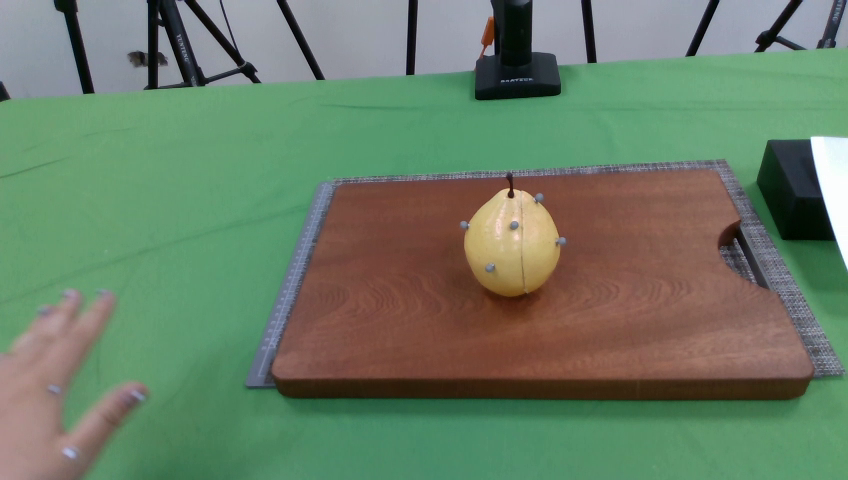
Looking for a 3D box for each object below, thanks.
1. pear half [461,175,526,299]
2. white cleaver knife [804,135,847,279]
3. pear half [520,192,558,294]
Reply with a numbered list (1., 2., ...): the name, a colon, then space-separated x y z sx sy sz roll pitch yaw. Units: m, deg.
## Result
1. pear half: 0.057 -0.006 0.493 0.056 0.111 0.075 -2 35 8
2. white cleaver knife: 0.373 0.012 0.497 0.065 0.022 0.284 -1 50 13
3. pear half: 0.093 0.002 0.493 0.031 0.089 0.070 -2 32 7
